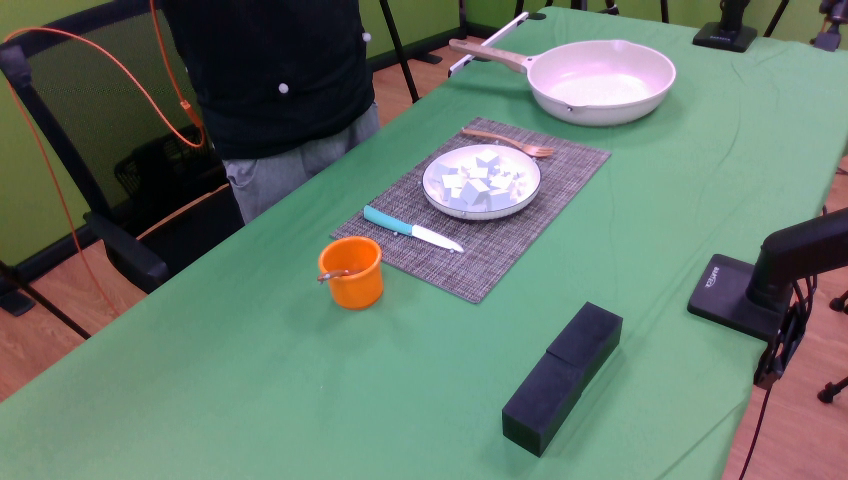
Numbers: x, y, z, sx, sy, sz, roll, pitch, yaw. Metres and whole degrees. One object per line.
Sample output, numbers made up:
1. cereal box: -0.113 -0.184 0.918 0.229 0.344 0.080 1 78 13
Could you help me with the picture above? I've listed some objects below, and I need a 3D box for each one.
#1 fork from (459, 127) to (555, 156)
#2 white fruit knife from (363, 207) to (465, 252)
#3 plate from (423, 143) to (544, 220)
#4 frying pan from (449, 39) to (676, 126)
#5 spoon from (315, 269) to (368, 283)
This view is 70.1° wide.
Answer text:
1. fork: 0.155 -0.192 1.165 0.206 0.019 0.028 22 59 27
2. white fruit knife: -0.022 -0.016 0.990 0.206 0.016 0.027 21 52 28
3. plate: 0.102 -0.097 1.049 0.207 0.039 0.206 -4 40 4
4. frying pan: 0.272 -0.362 1.287 0.485 0.103 0.307 23 48 19
5. spoon: -0.116 0.048 0.831 0.041 0.194 0.021 -4 85 9
